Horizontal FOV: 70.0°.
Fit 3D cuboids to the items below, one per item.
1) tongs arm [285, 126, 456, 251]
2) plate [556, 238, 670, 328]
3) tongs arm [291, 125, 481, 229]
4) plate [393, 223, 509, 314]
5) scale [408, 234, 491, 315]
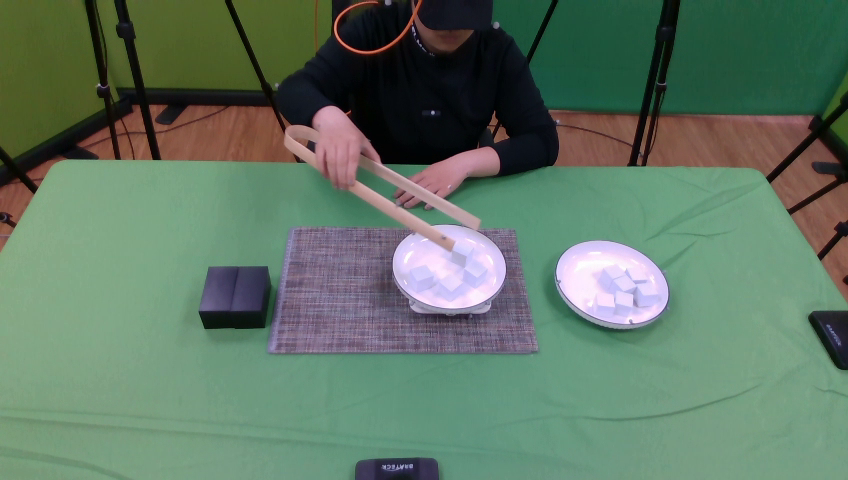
[{"bbox_3d":[-0.099,-0.094,1.032,0.383,0.026,0.050,31,40,17],"label":"tongs arm"},{"bbox_3d":[0.347,0.083,1.130,0.209,0.038,0.208,2,47,-2],"label":"plate"},{"bbox_3d":[-0.071,-0.115,1.071,0.386,0.028,0.028,28,43,13],"label":"tongs arm"},{"bbox_3d":[0.048,0.053,1.091,0.208,0.039,0.206,1,46,-1],"label":"plate"},{"bbox_3d":[0.045,0.055,1.135,0.149,0.032,0.199,1,46,-3],"label":"scale"}]
